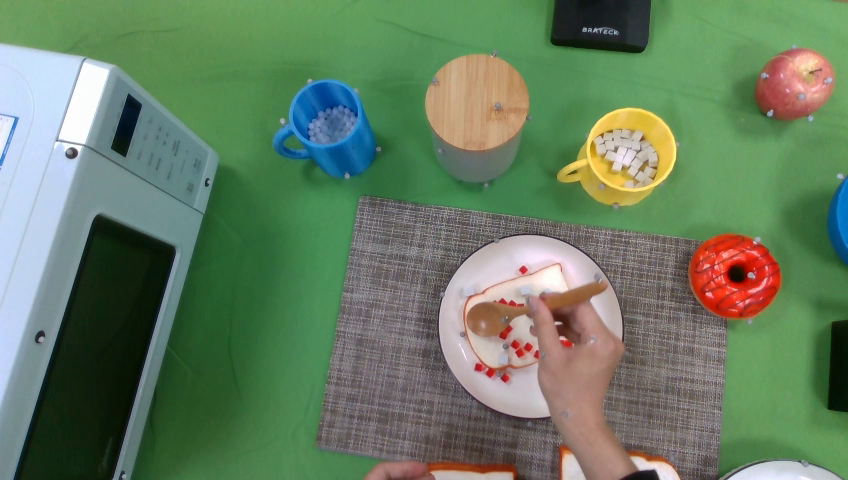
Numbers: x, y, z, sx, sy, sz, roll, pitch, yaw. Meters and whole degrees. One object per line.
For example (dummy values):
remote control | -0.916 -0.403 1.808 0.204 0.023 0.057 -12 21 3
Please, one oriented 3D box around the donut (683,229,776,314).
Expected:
donut | 0.344 0.035 0.688 0.099 0.048 0.098 -1 80 3

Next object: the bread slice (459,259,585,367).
bread slice | 0.108 0.089 0.694 0.131 0.019 0.104 -18 79 1

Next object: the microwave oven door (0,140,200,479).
microwave oven door | -0.332 0.106 0.598 0.039 0.245 0.354 11 80 6

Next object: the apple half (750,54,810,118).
apple half | 0.406 -0.173 0.710 0.033 0.081 0.081 -24 78 -6

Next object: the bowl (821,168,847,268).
bowl | 0.509 -0.018 0.675 0.151 0.077 0.151 -1 80 4

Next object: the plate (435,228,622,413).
plate | 0.117 0.091 0.694 0.207 0.039 0.206 -1 79 3

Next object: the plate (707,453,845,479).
plate | 0.374 0.331 0.638 0.209 0.038 0.208 -1 79 3

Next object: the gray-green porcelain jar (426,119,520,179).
gray-green porcelain jar | 0.056 -0.133 0.698 0.106 0.127 0.105 -1 79 3

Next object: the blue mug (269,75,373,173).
blue mug | -0.124 -0.129 0.718 0.116 0.106 0.082 -17 78 0

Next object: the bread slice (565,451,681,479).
bread slice | 0.213 0.277 0.631 0.135 0.018 0.106 4 76 -16

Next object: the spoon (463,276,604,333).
spoon | 0.103 0.066 0.610 0.021 0.193 0.041 -31 93 -36

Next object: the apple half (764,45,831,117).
apple half | 0.441 -0.189 0.713 0.053 0.075 0.080 -24 75 -6

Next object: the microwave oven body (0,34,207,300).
microwave oven body | -0.465 0.038 0.623 0.326 0.261 0.440 11 81 5

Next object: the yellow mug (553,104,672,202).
yellow mug | 0.216 -0.096 0.713 0.131 0.064 0.099 -16 79 1

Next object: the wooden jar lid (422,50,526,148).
wooden jar lid | 0.052 -0.146 0.637 0.108 0.021 0.108 -1 77 3

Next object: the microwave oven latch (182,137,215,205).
microwave oven latch | -0.278 -0.085 0.734 0.030 0.029 0.079 13 81 5
